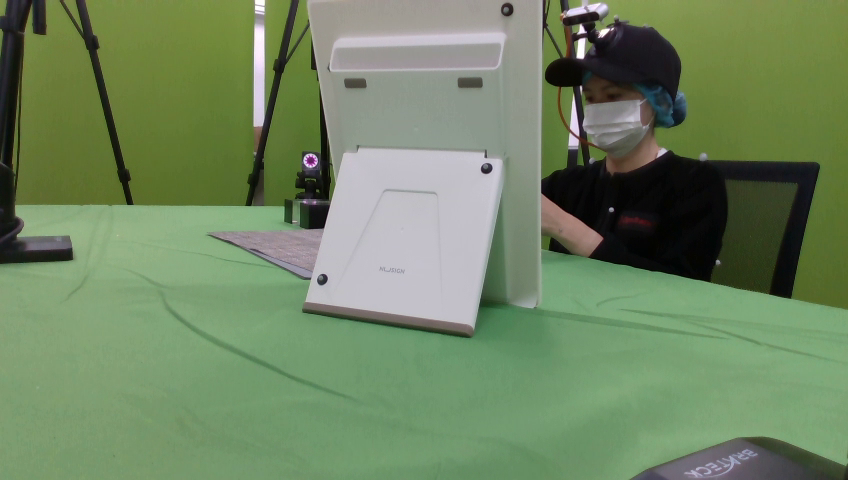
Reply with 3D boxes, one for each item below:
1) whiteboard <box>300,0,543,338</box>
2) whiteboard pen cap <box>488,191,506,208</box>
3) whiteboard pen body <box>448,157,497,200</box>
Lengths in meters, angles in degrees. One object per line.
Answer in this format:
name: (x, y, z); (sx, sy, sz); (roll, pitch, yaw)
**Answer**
whiteboard: (-0.020, -0.050, 0.523); (0.216, 0.305, 0.144); (6, 27, 22)
whiteboard pen cap: (0.122, -0.068, 1.004); (0.018, 0.018, 0.033); (-3, 34, -34)
whiteboard pen body: (0.084, -0.106, 1.048); (0.017, 0.017, 0.140); (-3, 36, -36)
